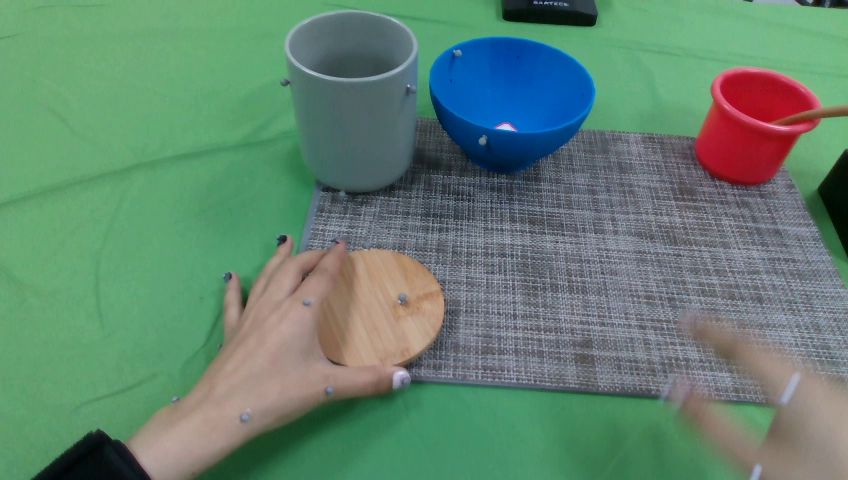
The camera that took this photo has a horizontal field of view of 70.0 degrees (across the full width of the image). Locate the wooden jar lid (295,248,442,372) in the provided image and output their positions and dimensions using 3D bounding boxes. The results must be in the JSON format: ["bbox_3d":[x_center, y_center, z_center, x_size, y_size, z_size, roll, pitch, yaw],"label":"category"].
[{"bbox_3d":[-0.041,0.053,0.453,0.108,0.021,0.107,2,48,-1],"label":"wooden jar lid"}]

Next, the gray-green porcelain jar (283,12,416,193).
[{"bbox_3d":[-0.061,-0.113,0.526,0.106,0.127,0.105,2,49,-2],"label":"gray-green porcelain jar"}]

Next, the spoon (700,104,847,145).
[{"bbox_3d":[0.334,-0.106,0.536,0.041,0.193,0.022,-30,103,-24],"label":"spoon"}]

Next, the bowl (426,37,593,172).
[{"bbox_3d":[0.075,-0.118,0.572,0.151,0.077,0.150,2,49,-2],"label":"bowl"}]
